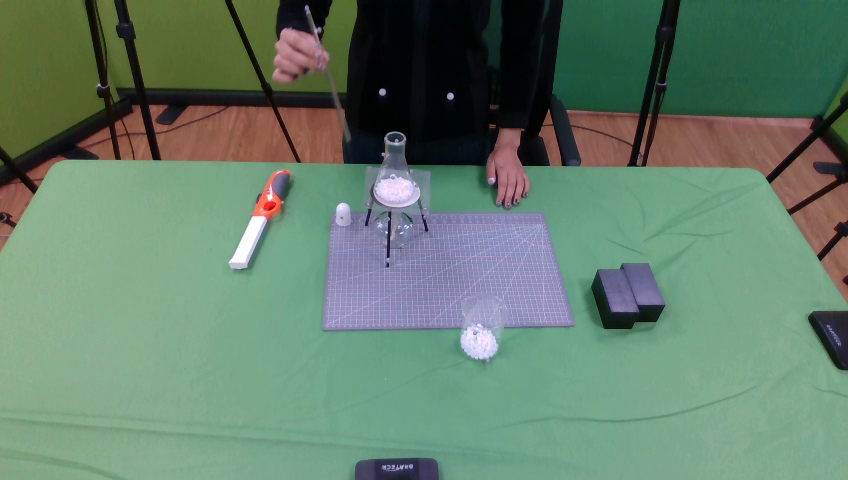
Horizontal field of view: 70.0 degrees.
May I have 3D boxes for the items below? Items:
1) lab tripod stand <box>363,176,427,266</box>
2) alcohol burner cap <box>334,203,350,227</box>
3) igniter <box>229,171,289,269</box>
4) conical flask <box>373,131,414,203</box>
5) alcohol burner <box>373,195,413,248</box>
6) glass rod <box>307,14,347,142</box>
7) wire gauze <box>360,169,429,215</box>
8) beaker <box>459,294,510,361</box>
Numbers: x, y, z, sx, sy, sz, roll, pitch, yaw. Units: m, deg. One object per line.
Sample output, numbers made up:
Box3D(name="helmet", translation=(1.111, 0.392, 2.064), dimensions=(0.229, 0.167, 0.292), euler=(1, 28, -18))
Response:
Box3D(name="lab tripod stand", translation=(-0.058, -0.047, 1.159), dimensions=(0.148, 0.132, 0.147), euler=(3, 44, -2))
Box3D(name="alcohol burner cap", translation=(-0.166, -0.054, 1.221), dimensions=(0.034, 0.048, 0.033), euler=(2, 46, -2))
Box3D(name="igniter", translation=(-0.328, -0.049, 1.218), dimensions=(0.057, 0.025, 0.275), euler=(0, 45, 11))
Box3D(name="conical flask", translation=(-0.053, -0.131, 1.067), dimensions=(0.075, 0.122, 0.075), euler=(2, 44, -2))
Box3D(name="alcohol burner", translation=(-0.059, -0.041, 1.167), dimensions=(0.078, 0.119, 0.077), euler=(4, 46, -4))
Box3D(name="glass rod", translation=(-0.150, -0.248, 0.942), dimensions=(0.008, 0.200, 0.008), euler=(-12, 24, 6))
Box3D(name="wire gauze", translation=(-0.052, -0.092, 1.111), dimensions=(0.125, 0.011, 0.120), euler=(3, 43, 1))
Box3D(name="beaker", translation=(0.095, 0.147, 1.012), dimensions=(0.083, 0.101, 0.074), euler=(26, 49, 21))
